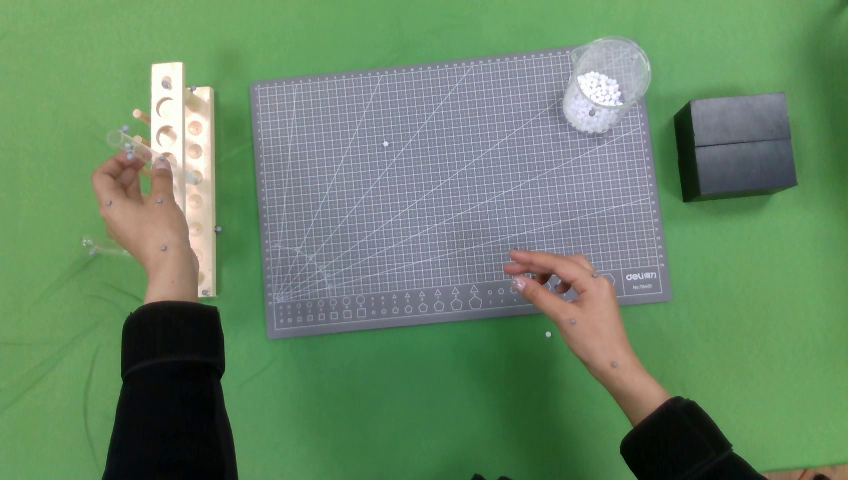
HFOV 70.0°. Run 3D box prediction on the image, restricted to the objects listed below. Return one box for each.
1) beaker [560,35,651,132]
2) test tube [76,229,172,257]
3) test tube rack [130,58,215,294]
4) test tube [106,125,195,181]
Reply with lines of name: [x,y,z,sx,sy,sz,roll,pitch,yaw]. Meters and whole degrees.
beaker: [0.183,-0.162,0.641,0.084,0.100,0.074,32,86,7]
test tube: [-0.296,0.006,0.609,0.017,0.151,0.017,0,83,5]
test tube rack: [-0.278,-0.064,0.660,0.067,0.085,0.241,-3,85,2]
test tube: [-0.269,-0.084,0.608,0.017,0.151,0.017,-1,82,5]
